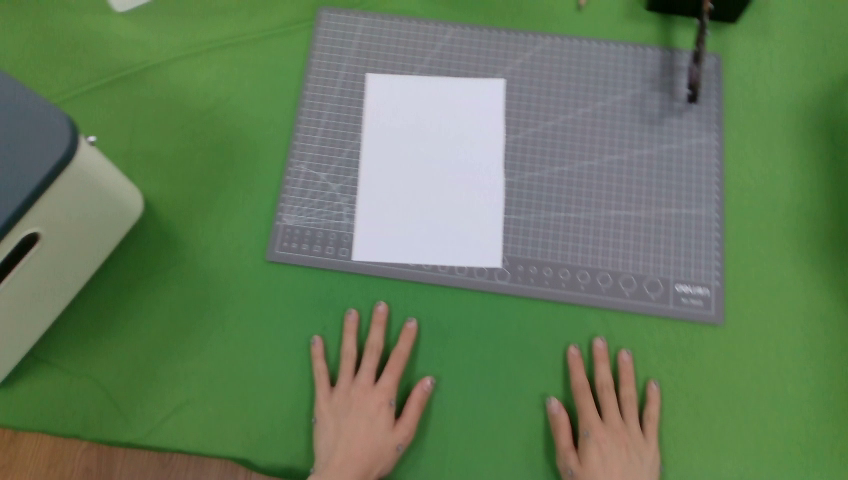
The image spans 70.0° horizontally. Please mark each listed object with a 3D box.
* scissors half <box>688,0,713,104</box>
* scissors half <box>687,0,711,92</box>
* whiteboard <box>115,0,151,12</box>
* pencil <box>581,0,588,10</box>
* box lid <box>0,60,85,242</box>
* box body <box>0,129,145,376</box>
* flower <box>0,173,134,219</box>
[{"bbox_3d":[0.299,-0.229,0.637,0.012,0.040,0.175,11,93,28],"label":"scissors half"},{"bbox_3d":[0.290,-0.233,0.619,0.013,0.040,0.174,11,75,22],"label":"scissors half"},{"bbox_3d":[-0.298,-0.439,0.613,0.217,0.308,0.142,-25,55,-7],"label":"whiteboard"},{"bbox_3d":[0.212,-0.347,0.707,0.012,0.012,0.193,20,76,6],"label":"pencil"},{"bbox_3d":[-0.481,-0.084,0.473,0.370,0.015,0.262,33,76,9],"label":"box lid"},{"bbox_3d":[-0.479,-0.061,0.543,0.363,0.161,0.253,33,76,9],"label":"box body"},{"bbox_3d":[-0.468,-0.039,0.609,0.361,0.038,0.044,-1,104,6],"label":"flower"}]
